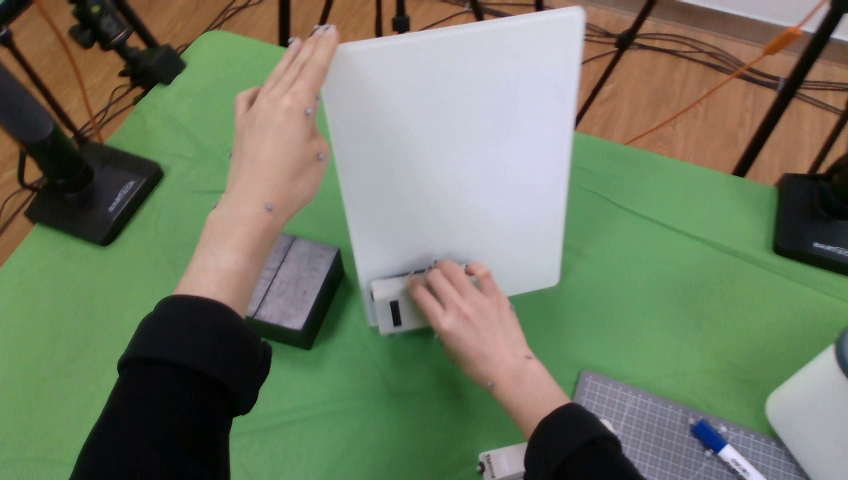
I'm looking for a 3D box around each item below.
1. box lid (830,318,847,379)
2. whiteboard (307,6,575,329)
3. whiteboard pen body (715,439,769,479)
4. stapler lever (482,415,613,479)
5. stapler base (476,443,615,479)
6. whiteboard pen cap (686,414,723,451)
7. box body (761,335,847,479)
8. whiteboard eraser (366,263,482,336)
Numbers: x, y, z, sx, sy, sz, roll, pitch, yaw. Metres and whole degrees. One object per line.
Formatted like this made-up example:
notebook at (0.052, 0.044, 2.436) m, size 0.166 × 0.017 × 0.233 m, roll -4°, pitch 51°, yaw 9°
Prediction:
box lid at (0.502, 0.165, 0.424) m, size 0.263 × 0.015 × 0.368 m, roll -23°, pitch 62°, yaw -15°
whiteboard at (0.014, -0.086, 0.614) m, size 0.217 × 0.308 × 0.142 m, roll -11°, pitch 40°, yaw -7°
whiteboard pen body at (0.306, 0.221, 0.553) m, size 0.017 × 0.017 × 0.139 m, roll -34°, pitch 63°, yaw -20°
stapler lever at (0.112, 0.186, 0.545) m, size 0.118 × 0.040 × 0.026 m, roll -13°, pitch 55°, yaw -5°
stapler base at (0.115, 0.199, 0.566) m, size 0.131 × 0.024 × 0.041 m, roll -13°, pitch 55°, yaw -5°
whiteboard pen cap at (0.269, 0.184, 0.579) m, size 0.018 × 0.018 × 0.033 m, roll -34°, pitch 63°, yaw -20°
box body at (0.502, 0.206, 0.486) m, size 0.254 × 0.162 × 0.360 m, roll -23°, pitch 61°, yaw -14°
whiteboard eraser at (0.001, 0.058, 0.611) m, size 0.113 × 0.056 × 0.041 m, roll -11°, pitch 32°, yaw -7°
